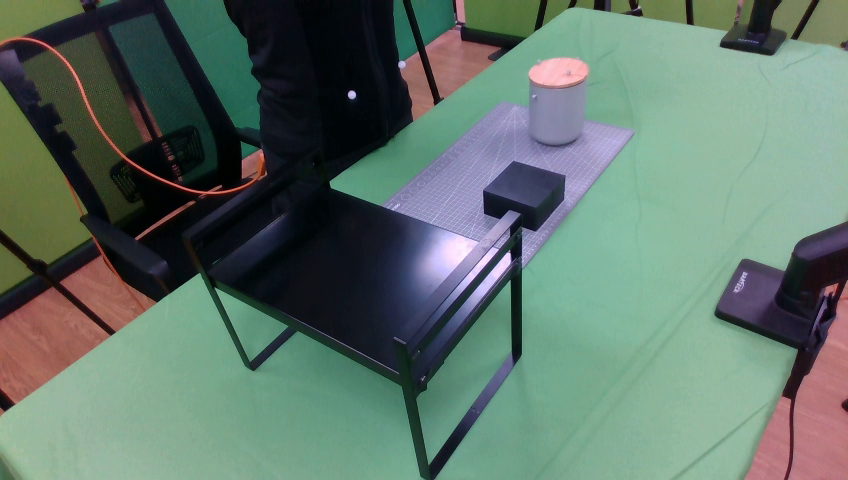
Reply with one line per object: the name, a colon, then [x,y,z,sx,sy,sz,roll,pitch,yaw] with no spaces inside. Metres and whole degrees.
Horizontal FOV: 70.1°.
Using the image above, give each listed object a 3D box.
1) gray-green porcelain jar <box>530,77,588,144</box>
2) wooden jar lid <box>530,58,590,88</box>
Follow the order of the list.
gray-green porcelain jar: [0.255,-0.255,1.151,0.106,0.127,0.105,-5,41,4]
wooden jar lid: [0.249,-0.302,1.110,0.108,0.021,0.108,-6,40,6]
